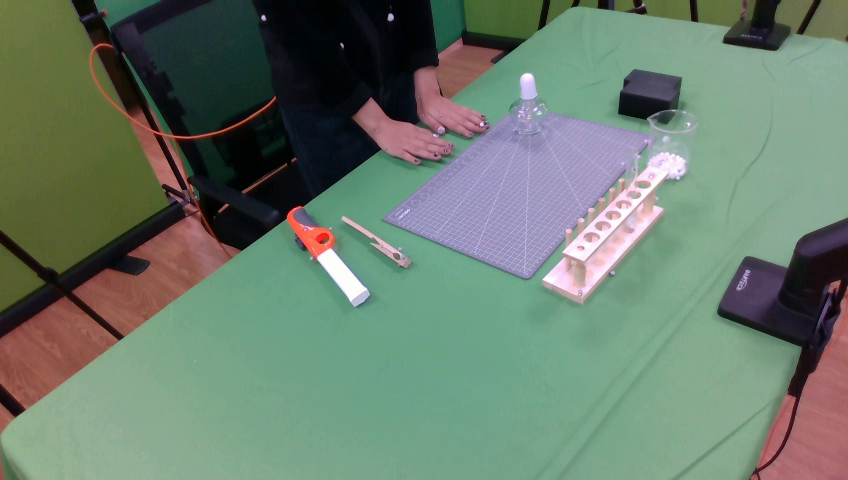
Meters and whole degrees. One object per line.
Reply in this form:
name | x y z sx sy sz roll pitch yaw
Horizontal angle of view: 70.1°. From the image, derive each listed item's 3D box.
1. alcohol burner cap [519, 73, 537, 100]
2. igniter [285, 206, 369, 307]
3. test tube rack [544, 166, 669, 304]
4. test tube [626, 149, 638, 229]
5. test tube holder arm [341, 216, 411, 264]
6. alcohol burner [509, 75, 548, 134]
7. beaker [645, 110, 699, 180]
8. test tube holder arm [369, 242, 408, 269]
alcohol burner cap | 0.198 -0.298 1.163 0.034 0.048 0.033 -9 37 8
igniter | -0.166 0.018 0.986 0.057 0.025 0.274 -34 45 -13
test tube rack | 0.274 -0.018 0.903 0.066 0.085 0.243 26 51 35
test tube | 0.304 -0.071 0.882 0.017 0.151 0.017 -9 44 10
test tube holder arm | -0.083 -0.002 1.000 0.177 0.015 0.013 33 86 40
alcohol burner | 0.204 -0.270 1.186 0.078 0.119 0.077 -5 42 5
beaker | 0.417 -0.160 1.032 0.083 0.101 0.074 25 51 34
test tube holder arm | -0.057 0.021 0.971 0.087 0.015 0.010 34 87 40
